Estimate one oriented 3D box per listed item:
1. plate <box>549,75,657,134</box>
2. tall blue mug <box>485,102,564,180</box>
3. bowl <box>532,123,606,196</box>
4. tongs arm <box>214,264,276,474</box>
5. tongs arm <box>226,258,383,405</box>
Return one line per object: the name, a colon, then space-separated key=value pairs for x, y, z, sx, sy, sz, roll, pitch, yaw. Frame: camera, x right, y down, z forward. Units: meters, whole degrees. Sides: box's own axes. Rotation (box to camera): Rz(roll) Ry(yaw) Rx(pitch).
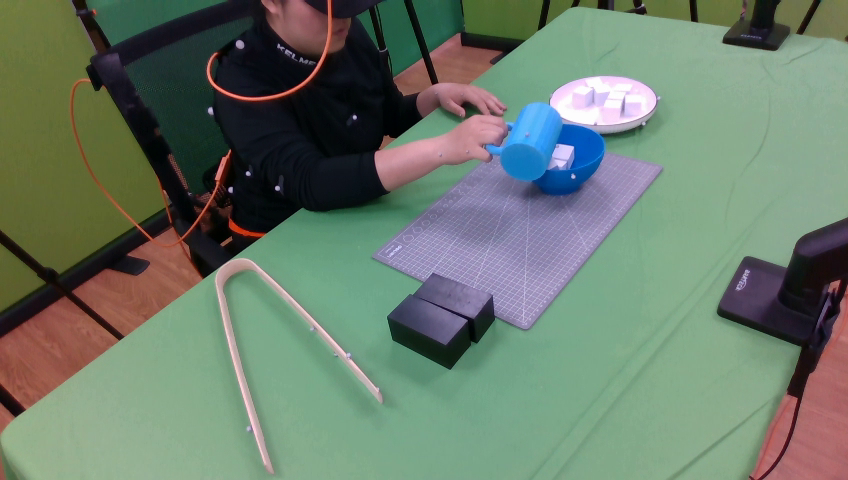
plate: x=0.357 y=-0.268 z=1.220 sx=0.209 sy=0.038 sz=0.208 roll=-5 pitch=41 yaw=5
tall blue mug: x=0.160 y=-0.166 z=0.968 sx=0.107 sy=0.078 sz=0.108 roll=27 pitch=52 yaw=0
bowl: x=0.235 y=-0.131 z=1.045 sx=0.151 sy=0.077 sz=0.150 roll=-5 pitch=40 yaw=5
tongs arm: x=-0.252 y=0.158 z=0.837 sx=0.028 sy=0.028 sz=0.384 roll=-27 pitch=43 yaw=-8
tongs arm: x=-0.185 y=0.121 z=0.863 sx=0.051 sy=0.027 sz=0.381 roll=-34 pitch=45 yaw=-20
